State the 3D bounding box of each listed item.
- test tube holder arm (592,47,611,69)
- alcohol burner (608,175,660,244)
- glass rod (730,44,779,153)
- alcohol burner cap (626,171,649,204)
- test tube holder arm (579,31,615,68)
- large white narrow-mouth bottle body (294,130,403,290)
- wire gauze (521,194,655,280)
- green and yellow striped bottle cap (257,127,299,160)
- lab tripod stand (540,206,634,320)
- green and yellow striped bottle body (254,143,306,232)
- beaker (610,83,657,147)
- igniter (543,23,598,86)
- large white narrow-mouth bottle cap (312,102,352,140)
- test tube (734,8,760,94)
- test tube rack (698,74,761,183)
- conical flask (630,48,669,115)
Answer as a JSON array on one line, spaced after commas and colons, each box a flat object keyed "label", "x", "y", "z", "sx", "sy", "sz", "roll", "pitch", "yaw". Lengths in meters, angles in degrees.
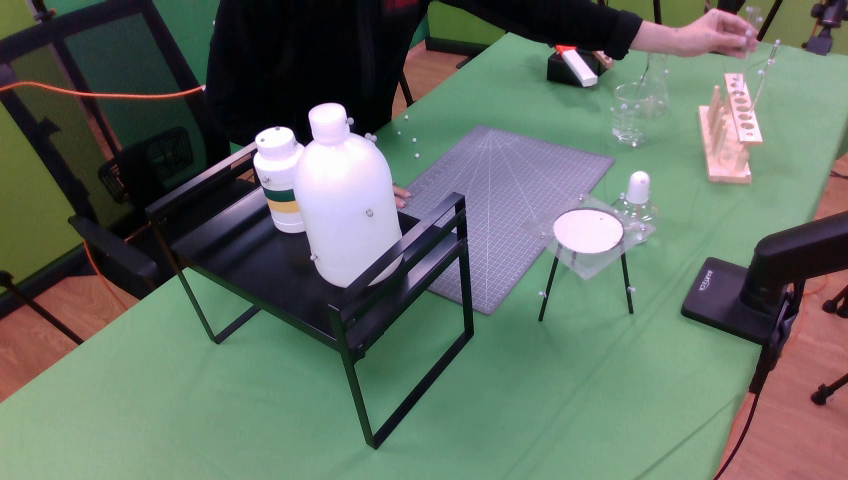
[{"label": "test tube holder arm", "x": 0.386, "y": -0.398, "z": 1.317, "sx": 0.010, "sy": 0.015, "sz": 0.087, "roll": -9, "pitch": 41, "yaw": -2}, {"label": "alcohol burner", "x": 0.323, "y": -0.053, "z": 0.924, "sx": 0.078, "sy": 0.119, "sz": 0.077, "roll": -4, "pitch": 43, "yaw": 4}, {"label": "glass rod", "x": 0.555, "y": -0.233, "z": 1.020, "sx": 0.008, "sy": 0.200, "sz": 0.008, "roll": 2, "pitch": 39, "yaw": -1}, {"label": "alcohol burner cap", "x": 0.320, "y": -0.081, "z": 0.900, "sx": 0.034, "sy": 0.048, "sz": 0.033, "roll": -4, "pitch": 42, "yaw": 4}, {"label": "test tube holder arm", "x": 0.384, "y": -0.428, "z": 1.351, "sx": 0.013, "sy": 0.015, "sz": 0.177, "roll": -10, "pitch": 41, "yaw": -4}, {"label": "large white narrow-mouth bottle body", "x": -0.082, "y": -0.047, "z": 0.634, "sx": 0.102, "sy": 0.195, "sz": 0.101, "roll": -4, "pitch": 39, "yaw": 3}, {"label": "wire gauze", "x": 0.207, "y": -0.012, "z": 0.772, "sx": 0.122, "sy": 0.011, "sz": 0.124, "roll": -28, "pitch": 44, "yaw": -20}, {"label": "green and yellow striped bottle cap", "x": -0.169, "y": -0.112, "z": 0.698, "sx": 0.045, "sy": 0.020, "sz": 0.045, "roll": -6, "pitch": 40, "yaw": 5}, {"label": "lab tripod stand", "x": 0.218, "y": 0.034, "z": 0.821, "sx": 0.148, "sy": 0.132, "sz": 0.147, "roll": -4, "pitch": 42, "yaw": 4}, {"label": "green and yellow striped bottle body", "x": -0.165, "y": -0.073, "z": 0.732, "sx": 0.063, "sy": 0.120, "sz": 0.063, "roll": -4, "pitch": 41, "yaw": 4}, {"label": "beaker", "x": 0.388, "y": -0.234, "z": 1.138, "sx": 0.074, "sy": 0.101, "sz": 0.083, "roll": -31, "pitch": 45, "yaw": -26}, {"label": "igniter", "x": 0.320, "y": -0.419, "z": 1.345, "sx": 0.057, "sy": 0.025, "sz": 0.274, "roll": -12, "pitch": 44, "yaw": -3}, {"label": "large white narrow-mouth bottle cap", "x": -0.088, "y": -0.114, "z": 0.579, "sx": 0.038, "sy": 0.024, "sz": 0.037, "roll": -3, "pitch": 39, "yaw": 3}, {"label": "test tube", "x": 0.560, "y": -0.325, "z": 1.050, "sx": 0.017, "sy": 0.151, "sz": 0.017, "roll": -5, "pitch": 37, "yaw": 4}, {"label": "test tube rack", "x": 0.547, "y": -0.208, "z": 1.095, "sx": 0.066, "sy": 0.085, "sz": 0.242, "roll": 5, "pitch": 42, "yaw": 15}, {"label": "conical flask", "x": 0.457, "y": -0.317, "z": 1.205, "sx": 0.075, "sy": 0.122, "sz": 0.075, "roll": -4, "pitch": 41, "yaw": 4}]
